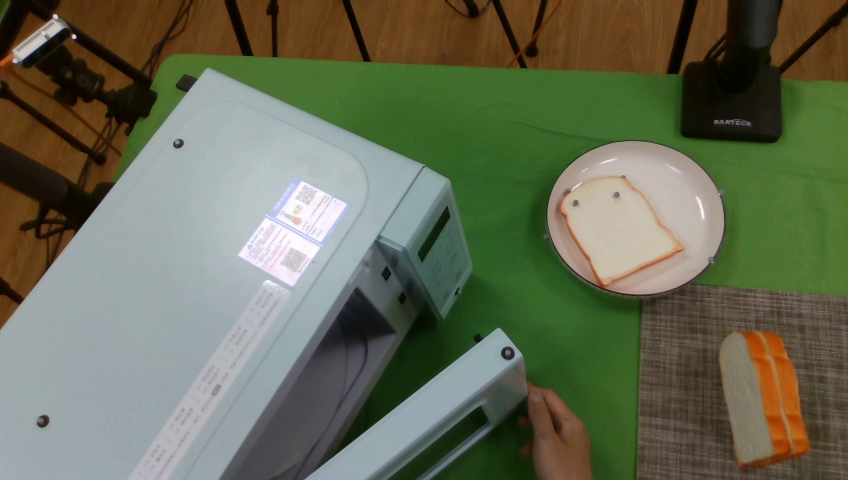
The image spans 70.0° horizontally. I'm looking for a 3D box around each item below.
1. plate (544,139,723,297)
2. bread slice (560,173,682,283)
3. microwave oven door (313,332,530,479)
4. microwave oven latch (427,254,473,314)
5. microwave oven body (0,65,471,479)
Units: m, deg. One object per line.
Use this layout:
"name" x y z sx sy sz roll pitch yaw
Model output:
"plate" 0.253 -0.026 0.745 0.207 0.039 0.206 -3 68 9
"bread slice" 0.230 -0.020 0.745 0.107 0.018 0.133 -28 65 -5
"microwave oven door" -0.051 0.228 0.566 0.356 0.246 0.039 -37 66 -6
"microwave oven latch" 0.031 0.048 0.735 0.030 0.030 0.079 28 76 19
"microwave oven body" -0.201 0.096 0.651 0.324 0.262 0.440 26 76 19
